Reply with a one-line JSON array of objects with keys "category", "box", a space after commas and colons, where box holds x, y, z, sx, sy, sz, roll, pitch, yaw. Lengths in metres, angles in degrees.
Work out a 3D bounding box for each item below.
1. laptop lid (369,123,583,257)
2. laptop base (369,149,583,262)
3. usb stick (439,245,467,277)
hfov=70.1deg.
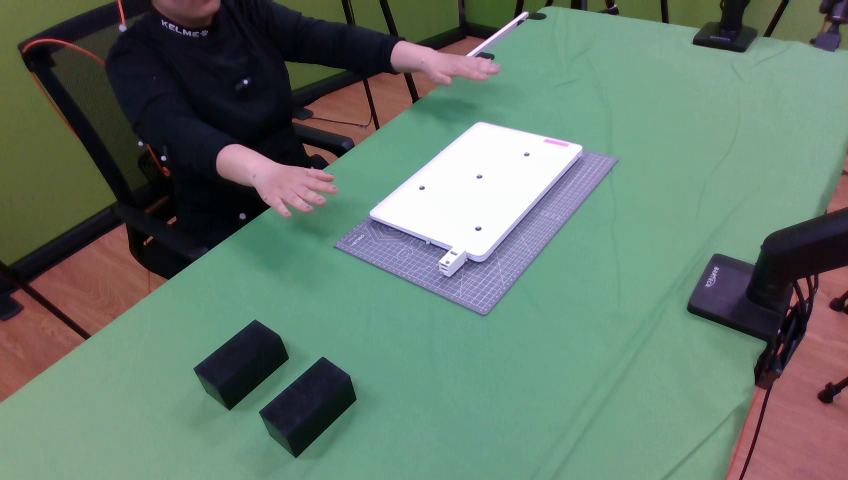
[{"category": "laptop lid", "box": [0.098, -0.106, 1.065, 0.240, 0.013, 0.358, 22, 48, 33]}, {"category": "laptop base", "box": [0.101, -0.097, 1.071, 0.233, 0.023, 0.355, 19, 47, 32]}, {"category": "usb stick", "box": [0.048, 0.028, 0.913, 0.021, 0.027, 0.059, 24, 47, 31]}]
